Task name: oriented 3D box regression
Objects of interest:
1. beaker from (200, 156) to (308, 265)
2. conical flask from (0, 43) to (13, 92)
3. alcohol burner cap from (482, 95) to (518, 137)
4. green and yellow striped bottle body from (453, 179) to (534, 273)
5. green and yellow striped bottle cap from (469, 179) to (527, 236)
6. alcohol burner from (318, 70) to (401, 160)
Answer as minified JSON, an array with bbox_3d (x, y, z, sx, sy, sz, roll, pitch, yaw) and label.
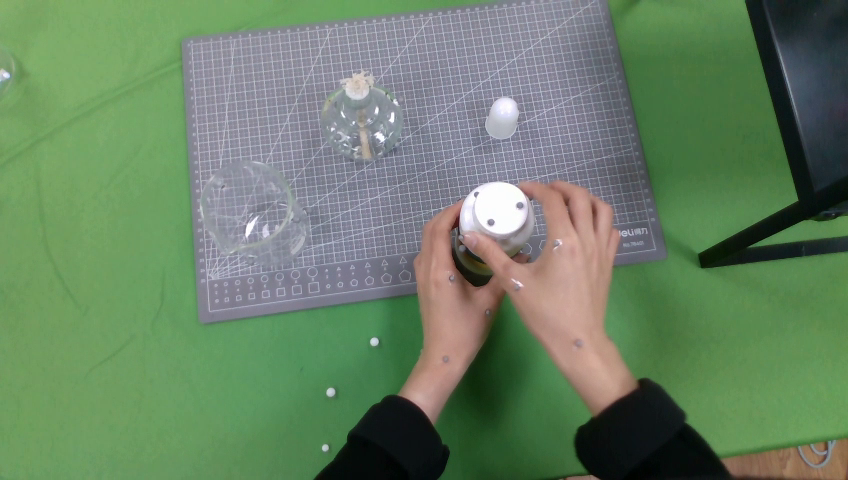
[{"bbox_3d":[-0.147,-0.018,0.539,0.074,0.100,0.083,20,78,4],"label":"beaker"},{"bbox_3d":[-0.455,-0.185,0.561,0.075,0.122,0.075,0,76,-1],"label":"conical flask"},{"bbox_3d":[0.076,-0.125,0.597,0.034,0.048,0.033,0,76,-1],"label":"alcohol burner cap"},{"bbox_3d":[0.059,-0.012,0.530,0.063,0.120,0.063,0,76,-1],"label":"green and yellow striped bottle body"},{"bbox_3d":[0.059,-0.026,0.481,0.045,0.020,0.045,0,80,-2],"label":"green and yellow striped bottle cap"},{"bbox_3d":[-0.060,-0.120,0.556,0.078,0.119,0.077,1,75,-2],"label":"alcohol burner"}]
